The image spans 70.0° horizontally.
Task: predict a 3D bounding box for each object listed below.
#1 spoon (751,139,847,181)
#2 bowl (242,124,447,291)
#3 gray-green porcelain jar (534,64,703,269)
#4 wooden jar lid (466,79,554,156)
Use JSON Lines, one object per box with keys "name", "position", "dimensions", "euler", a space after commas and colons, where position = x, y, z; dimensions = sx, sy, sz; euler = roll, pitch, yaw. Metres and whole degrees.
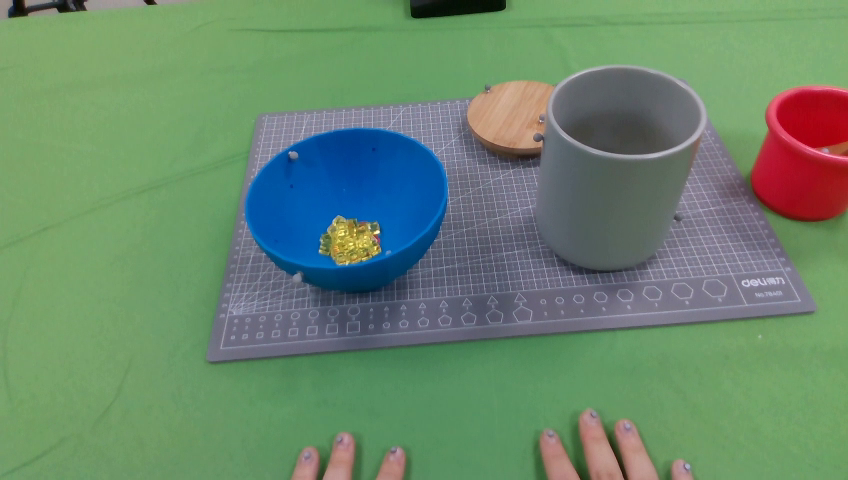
{"name": "spoon", "position": [0.350, -0.079, 0.460], "dimensions": [0.022, 0.193, 0.041], "euler": [49, 55, -15]}
{"name": "bowl", "position": [-0.056, -0.013, 0.473], "dimensions": [0.151, 0.077, 0.150], "euler": [-2, 49, 3]}
{"name": "gray-green porcelain jar", "position": [0.138, -0.049, 0.457], "dimensions": [0.106, 0.128, 0.105], "euler": [-2, 49, 3]}
{"name": "wooden jar lid", "position": [0.095, -0.119, 0.593], "dimensions": [0.108, 0.021, 0.107], "euler": [-2, 47, 3]}
